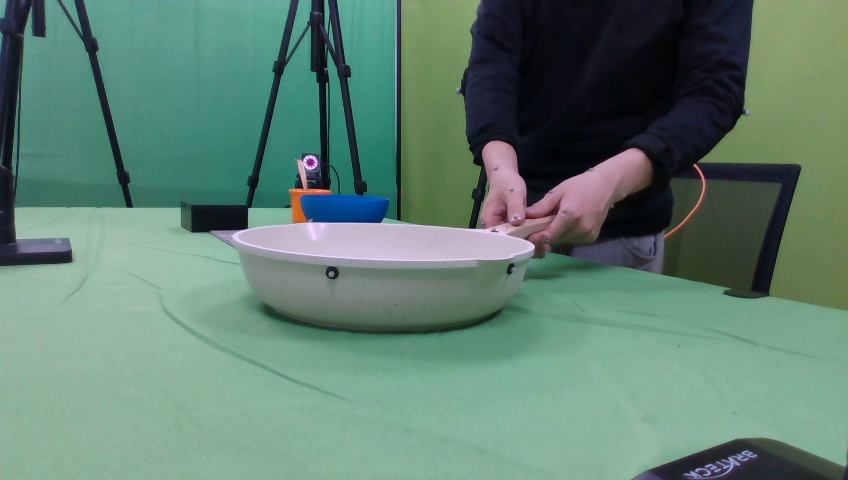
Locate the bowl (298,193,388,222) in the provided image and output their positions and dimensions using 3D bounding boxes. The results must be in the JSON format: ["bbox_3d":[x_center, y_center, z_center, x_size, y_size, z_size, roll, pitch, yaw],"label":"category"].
[{"bbox_3d":[-0.136,-0.037,1.018,0.151,0.077,0.151,2,7,0],"label":"bowl"}]

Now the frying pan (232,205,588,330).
[{"bbox_3d":[0.039,0.005,0.670,0.490,0.102,0.305,-15,17,-39],"label":"frying pan"}]

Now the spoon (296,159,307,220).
[{"bbox_3d":[-0.264,-0.114,1.338,0.042,0.193,0.021,0,-37,-21],"label":"spoon"}]
